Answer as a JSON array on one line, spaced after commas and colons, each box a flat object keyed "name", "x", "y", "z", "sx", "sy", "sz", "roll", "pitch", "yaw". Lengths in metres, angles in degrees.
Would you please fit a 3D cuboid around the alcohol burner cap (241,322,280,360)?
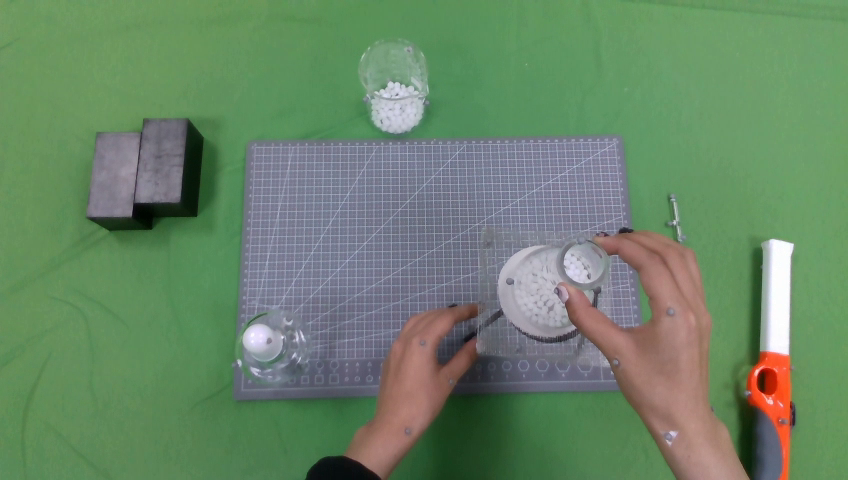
[{"name": "alcohol burner cap", "x": -0.157, "y": 0.093, "z": 0.577, "sx": 0.034, "sy": 0.048, "sz": 0.033, "roll": 1, "pitch": 69, "yaw": -3}]

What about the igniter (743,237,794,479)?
[{"name": "igniter", "x": 0.377, "y": 0.132, "z": 0.660, "sx": 0.057, "sy": 0.025, "sz": 0.275, "roll": 12, "pitch": 76, "yaw": -8}]

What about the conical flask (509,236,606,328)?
[{"name": "conical flask", "x": 0.114, "y": 0.029, "z": 0.493, "sx": 0.075, "sy": 0.122, "sz": 0.075, "roll": 0, "pitch": 77, "yaw": 0}]

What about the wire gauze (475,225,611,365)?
[{"name": "wire gauze", "x": 0.109, "y": 0.047, "z": 0.551, "sx": 0.125, "sy": 0.011, "sz": 0.121, "roll": 5, "pitch": 78, "yaw": 1}]

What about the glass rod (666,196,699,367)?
[{"name": "glass rod", "x": 0.294, "y": 0.044, "z": 0.690, "sx": 0.008, "sy": 0.008, "sz": 0.198, "roll": -3, "pitch": 75, "yaw": -2}]

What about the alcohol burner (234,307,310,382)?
[{"name": "alcohol burner", "x": -0.157, "y": 0.104, "z": 0.611, "sx": 0.078, "sy": 0.119, "sz": 0.077, "roll": 0, "pitch": 77, "yaw": 1}]

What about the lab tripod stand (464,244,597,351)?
[{"name": "lab tripod stand", "x": 0.111, "y": 0.066, "z": 0.615, "sx": 0.148, "sy": 0.132, "sz": 0.147, "roll": 0, "pitch": 77, "yaw": 0}]

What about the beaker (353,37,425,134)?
[{"name": "beaker", "x": -0.035, "y": -0.170, "z": 0.692, "sx": 0.084, "sy": 0.100, "sz": 0.074, "roll": 34, "pitch": 78, "yaw": 7}]
